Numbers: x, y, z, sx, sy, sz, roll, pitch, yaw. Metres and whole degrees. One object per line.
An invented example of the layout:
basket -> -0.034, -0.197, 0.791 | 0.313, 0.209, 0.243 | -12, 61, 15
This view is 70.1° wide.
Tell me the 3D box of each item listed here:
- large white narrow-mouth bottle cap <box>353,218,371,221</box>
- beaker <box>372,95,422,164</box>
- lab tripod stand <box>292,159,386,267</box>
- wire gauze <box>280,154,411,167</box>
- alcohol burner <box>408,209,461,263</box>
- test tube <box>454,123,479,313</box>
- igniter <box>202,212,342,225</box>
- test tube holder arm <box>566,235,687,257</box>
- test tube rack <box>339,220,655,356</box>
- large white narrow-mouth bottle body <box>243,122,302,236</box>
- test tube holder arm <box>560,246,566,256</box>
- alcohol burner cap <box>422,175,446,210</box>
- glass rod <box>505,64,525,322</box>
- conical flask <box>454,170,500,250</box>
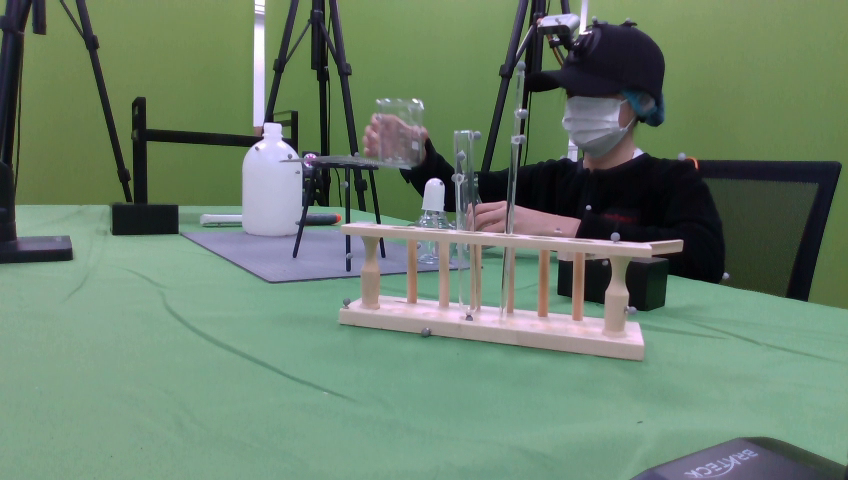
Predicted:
large white narrow-mouth bottle cap -> -0.120, -0.029, 1.184 | 0.038, 0.024, 0.037 | 2, 8, 0
beaker -> -0.037, -0.171, 0.934 | 0.083, 0.100, 0.074 | 13, 23, 36
lab tripod stand -> -0.105, -0.039, 0.797 | 0.148, 0.131, 0.148 | 2, 5, 0
wire gauze -> -0.102, -0.104, 0.785 | 0.121, 0.011, 0.126 | 8, 8, 43
alcohol burner -> 0.014, -0.029, 0.834 | 0.078, 0.119, 0.078 | 0, 6, 0
test tube -> 0.034, -0.016, 0.477 | 0.017, 0.150, 0.017 | -2, 9, 1
igniter -> -0.298, -0.043, 1.216 | 0.278, 0.025, 0.057 | -3, -2, -32
test tube holder arm -> 0.215, 0.006, 0.630 | 0.179, 0.015, 0.013 | -3, 10, -30
test tube rack -> 0.056, 0.032, 0.495 | 0.242, 0.085, 0.067 | 4, 7, 15
large white narrow-mouth bottle body -> -0.264, -0.109, 1.061 | 0.102, 0.194, 0.102 | 2, 8, 0
test tube holder arm -> 0.173, 0.007, 0.611 | 0.088, 0.015, 0.010 | -3, 10, -30
alcohol burner cap -> 0.015, -0.065, 0.830 | 0.034, 0.048, 0.034 | 6, 4, 0
glass rod -> 0.069, -0.029, 0.458 | 0.008, 0.199, 0.008 | 1, 15, 0
conical flask -> 0.078, -0.048, 0.960 | 0.075, 0.122, 0.075 | -9, 3, 1
